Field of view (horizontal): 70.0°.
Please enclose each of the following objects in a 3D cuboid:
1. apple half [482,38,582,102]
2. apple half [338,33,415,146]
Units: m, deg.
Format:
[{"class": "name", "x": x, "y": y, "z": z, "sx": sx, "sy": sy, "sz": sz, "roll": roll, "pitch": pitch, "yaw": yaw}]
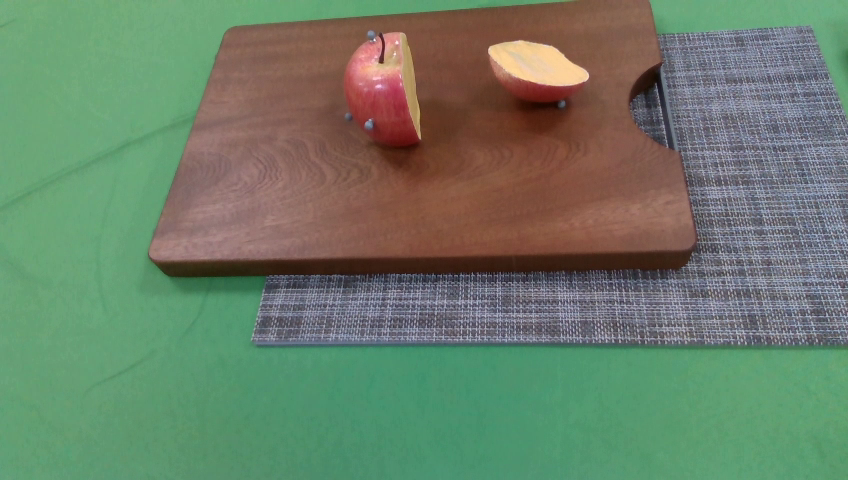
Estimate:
[{"class": "apple half", "x": 0.080, "y": -0.129, "z": 0.480, "sx": 0.081, "sy": 0.033, "sz": 0.080, "roll": 8, "pitch": 42, "yaw": -7}, {"class": "apple half", "x": -0.038, "y": -0.113, "z": 0.469, "sx": 0.053, "sy": 0.075, "sz": 0.080, "roll": -9, "pitch": 61, "yaw": 8}]
